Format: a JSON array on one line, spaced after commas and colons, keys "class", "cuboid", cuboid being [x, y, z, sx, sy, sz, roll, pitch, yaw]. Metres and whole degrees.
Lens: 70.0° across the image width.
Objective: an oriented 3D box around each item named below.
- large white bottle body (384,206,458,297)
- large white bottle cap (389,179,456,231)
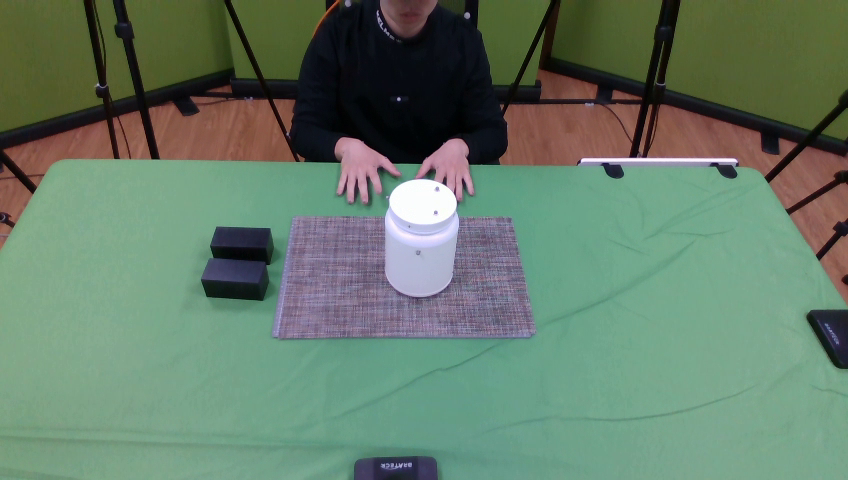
[{"class": "large white bottle body", "cuboid": [-0.006, -0.002, 1.082, 0.131, 0.185, 0.130, 2, 46, -2]}, {"class": "large white bottle cap", "cuboid": [-0.003, -0.060, 1.020, 0.115, 0.018, 0.114, 2, 46, -2]}]
